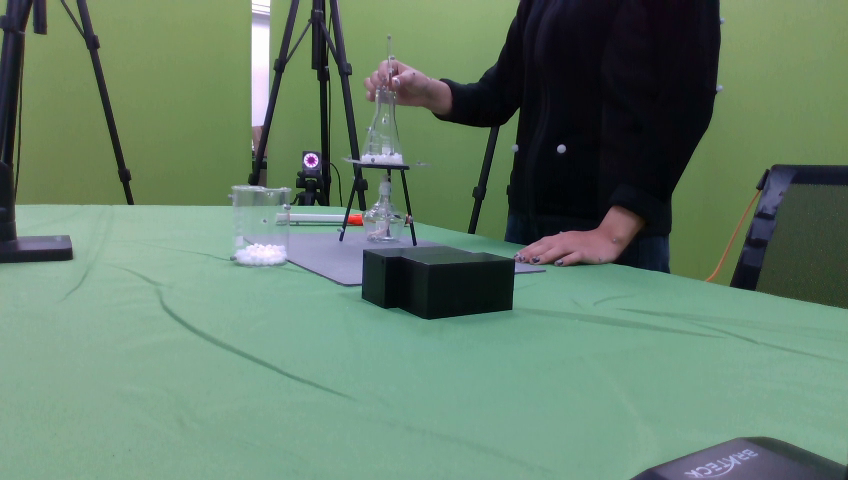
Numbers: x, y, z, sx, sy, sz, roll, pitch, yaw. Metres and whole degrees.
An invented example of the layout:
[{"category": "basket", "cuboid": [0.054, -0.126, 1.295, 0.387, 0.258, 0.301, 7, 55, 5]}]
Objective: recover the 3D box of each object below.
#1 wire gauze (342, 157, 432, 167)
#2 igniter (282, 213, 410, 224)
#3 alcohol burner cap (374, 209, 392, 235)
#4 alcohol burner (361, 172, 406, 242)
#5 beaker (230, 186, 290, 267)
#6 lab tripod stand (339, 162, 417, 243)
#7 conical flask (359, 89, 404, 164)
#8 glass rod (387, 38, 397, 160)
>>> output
[{"category": "wire gauze", "cuboid": [-0.065, -0.130, 1.017, 0.122, 0.011, 0.124, 2, 5, -27]}, {"category": "igniter", "cuboid": [-0.159, -0.046, 1.287, 0.278, 0.025, 0.057, -1, -2, -21]}, {"category": "alcohol burner cap", "cuboid": [-0.078, -0.036, 1.148, 0.034, 0.048, 0.034, 2, 7, 0]}, {"category": "alcohol burner", "cuboid": [-0.067, -0.056, 1.030, 0.078, 0.119, 0.078, 4, 9, 0]}, {"category": "beaker", "cuboid": [-0.209, -0.019, 0.778, 0.074, 0.100, 0.084, 3, 7, 4]}, {"category": "lab tripod stand", "cuboid": [-0.067, -0.065, 1.027, 0.148, 0.131, 0.148, 4, 7, 0]}, {"category": "conical flask", "cuboid": [-0.067, -0.189, 1.011, 0.075, 0.122, 0.075, 4, 6, 0]}, {"category": "glass rod", "cuboid": [-0.053, -0.233, 1.008, 0.008, 0.199, 0.008, -3, 11, 1]}]
